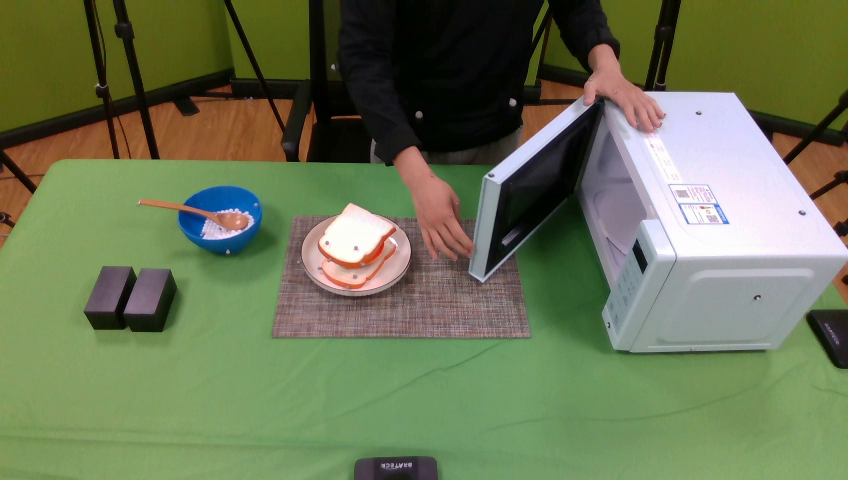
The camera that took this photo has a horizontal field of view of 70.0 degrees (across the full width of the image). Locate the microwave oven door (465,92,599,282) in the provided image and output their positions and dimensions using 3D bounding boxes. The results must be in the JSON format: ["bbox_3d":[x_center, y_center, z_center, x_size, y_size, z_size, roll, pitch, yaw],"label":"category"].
[{"bbox_3d":[0.209,-0.106,1.146,0.039,0.245,0.355,32,52,24],"label":"microwave oven door"}]

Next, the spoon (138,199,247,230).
[{"bbox_3d":[-0.431,-0.053,1.136,0.194,0.022,0.041,15,48,-20],"label":"spoon"}]

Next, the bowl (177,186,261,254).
[{"bbox_3d":[-0.383,-0.026,1.158,0.151,0.077,0.150,2,46,-2],"label":"bowl"}]

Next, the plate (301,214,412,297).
[{"bbox_3d":[-0.126,0.031,1.146,0.208,0.039,0.206,2,46,-2],"label":"plate"}]

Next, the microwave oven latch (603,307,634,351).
[{"bbox_3d":[0.332,0.153,1.044,0.030,0.029,0.078,0,45,-3],"label":"microwave oven latch"}]

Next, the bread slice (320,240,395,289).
[{"bbox_3d":[-0.129,0.036,1.140,0.107,0.018,0.134,19,48,14],"label":"bread slice"}]

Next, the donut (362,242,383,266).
[{"bbox_3d":[-0.125,0.010,1.128,0.099,0.048,0.098,3,45,-2],"label":"donut"}]

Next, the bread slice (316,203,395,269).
[{"bbox_3d":[-0.128,-0.005,1.100,0.104,0.019,0.131,27,53,13],"label":"bread slice"}]

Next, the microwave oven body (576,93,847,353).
[{"bbox_3d":[0.475,-0.041,1.110,0.326,0.261,0.438,-1,45,-4],"label":"microwave oven body"}]
